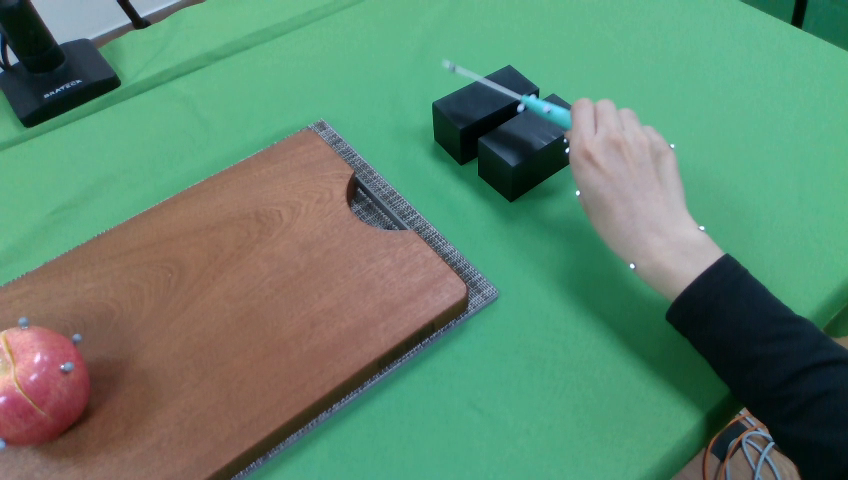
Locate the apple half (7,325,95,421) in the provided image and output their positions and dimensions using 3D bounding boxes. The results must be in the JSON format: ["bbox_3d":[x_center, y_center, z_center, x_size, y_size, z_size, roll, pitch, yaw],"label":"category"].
[{"bbox_3d":[-0.260,0.092,0.440,0.033,0.082,0.080,-33,57,-16],"label":"apple half"}]

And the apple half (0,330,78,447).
[{"bbox_3d":[-0.292,0.113,0.429,0.053,0.075,0.080,-34,61,-14],"label":"apple half"}]

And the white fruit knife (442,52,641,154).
[{"bbox_3d":[0.099,-0.128,0.545,0.206,0.027,0.016,32,98,22],"label":"white fruit knife"}]
